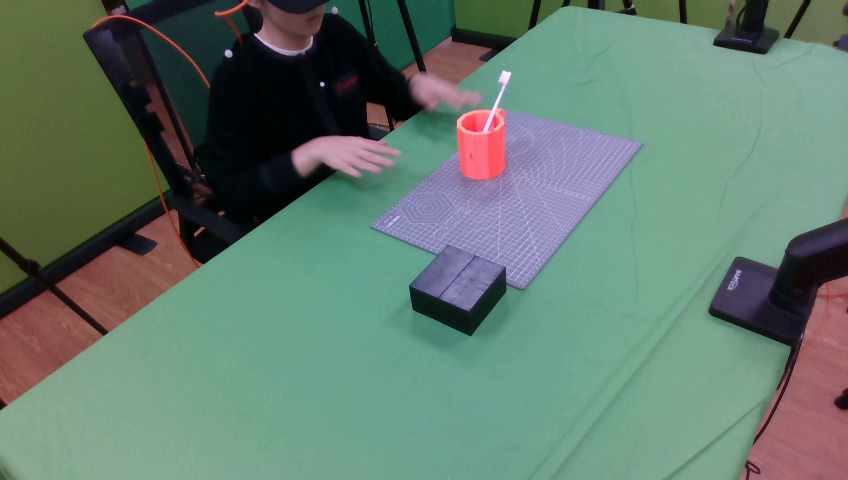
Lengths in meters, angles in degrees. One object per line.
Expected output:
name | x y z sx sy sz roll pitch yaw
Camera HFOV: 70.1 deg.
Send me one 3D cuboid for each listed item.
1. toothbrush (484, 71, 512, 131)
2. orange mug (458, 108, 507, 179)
toothbrush | 0.118 -0.216 1.087 0.017 0.182 0.014 17 14 -17
orange mug | 0.117 -0.187 1.112 0.083 0.101 0.126 19 52 28
